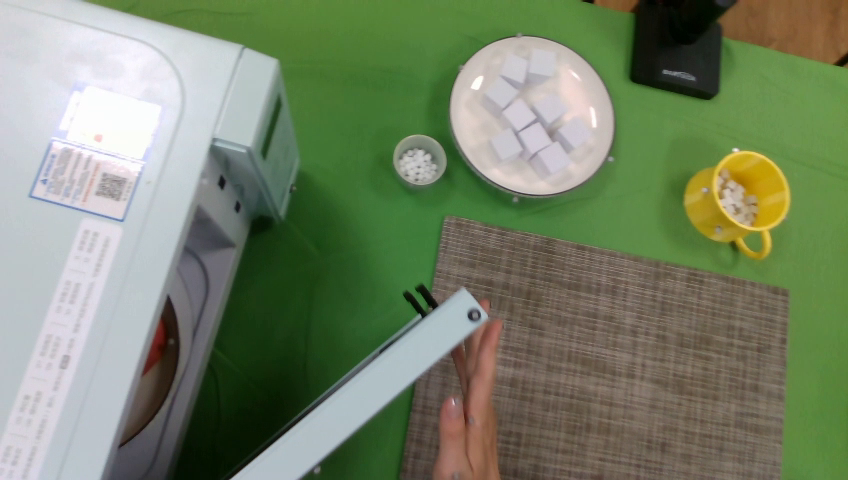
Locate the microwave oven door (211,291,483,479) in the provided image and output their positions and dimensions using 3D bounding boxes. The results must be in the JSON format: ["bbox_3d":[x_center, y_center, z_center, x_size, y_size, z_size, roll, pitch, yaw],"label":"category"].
[{"bbox_3d":[-0.113,0.172,0.527,0.355,0.244,0.039,-39,86,-13],"label":"microwave oven door"}]

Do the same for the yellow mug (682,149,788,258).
[{"bbox_3d":[0.389,-0.041,0.749,0.100,0.064,0.130,-16,83,-12],"label":"yellow mug"}]

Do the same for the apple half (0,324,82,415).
[{"bbox_3d":[-0.357,0.118,0.540,0.081,0.053,0.074,27,87,-17],"label":"apple half"}]

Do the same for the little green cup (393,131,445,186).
[{"bbox_3d":[-0.007,-0.093,0.713,0.062,0.038,0.061,2,80,-9],"label":"little green cup"}]

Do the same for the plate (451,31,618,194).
[{"bbox_3d":[0.134,-0.154,0.748,0.208,0.039,0.206,2,79,-8],"label":"plate"}]

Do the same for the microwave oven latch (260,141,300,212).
[{"bbox_3d":[-0.160,-0.073,0.670,0.030,0.029,0.079,17,78,-5],"label":"microwave oven latch"}]

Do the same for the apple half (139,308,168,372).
[{"bbox_3d":[-0.287,0.090,0.571,0.081,0.033,0.081,1,79,-5],"label":"apple half"}]

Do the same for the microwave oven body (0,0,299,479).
[{"bbox_3d":[-0.332,0.037,0.526,0.327,0.260,0.440,15,78,-6],"label":"microwave oven body"}]

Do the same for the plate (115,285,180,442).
[{"bbox_3d":[-0.336,0.099,0.568,0.209,0.038,0.208,2,79,-8],"label":"plate"}]
